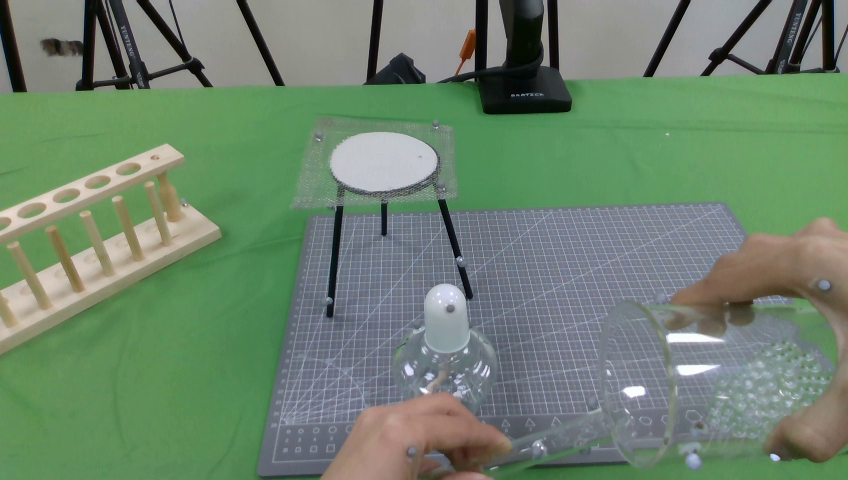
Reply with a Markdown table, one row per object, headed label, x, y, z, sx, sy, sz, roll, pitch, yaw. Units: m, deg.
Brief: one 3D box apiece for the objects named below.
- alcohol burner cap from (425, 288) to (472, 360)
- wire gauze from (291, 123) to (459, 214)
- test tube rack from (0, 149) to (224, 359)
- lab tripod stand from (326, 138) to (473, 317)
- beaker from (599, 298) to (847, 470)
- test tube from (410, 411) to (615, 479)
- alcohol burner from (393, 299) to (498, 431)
| label | x | y | z | sx | sy | sz | roll | pitch | yaw |
| --- | --- | --- | --- | --- | --- | --- | --- | --- | --- |
| alcohol burner cap | 0.016 | 0.053 | 0.407 | 0.034 | 0.048 | 0.033 | -2 | 39 | 2 |
| wire gauze | -0.035 | -0.060 | 0.481 | 0.121 | 0.011 | 0.124 | 1 | 40 | 0 |
| test tube rack | -0.314 | 0.010 | 0.547 | 0.066 | 0.086 | 0.242 | 31 | 49 | 33 |
| lab tripod stand | -0.026 | -0.010 | 0.526 | 0.148 | 0.132 | 0.147 | 1 | 39 | 0 |
| beaker | 0.142 | 0.068 | 0.283 | 0.100 | 0.084 | 0.073 | 0 | 48 | -6 |
| test tube | 0.034 | 0.126 | 0.334 | 0.150 | 0.017 | 0.017 | -29 | 32 | 24 |
| alcohol burner | 0.016 | 0.081 | 0.430 | 0.078 | 0.120 | 0.077 | 0 | 41 | 0 |
